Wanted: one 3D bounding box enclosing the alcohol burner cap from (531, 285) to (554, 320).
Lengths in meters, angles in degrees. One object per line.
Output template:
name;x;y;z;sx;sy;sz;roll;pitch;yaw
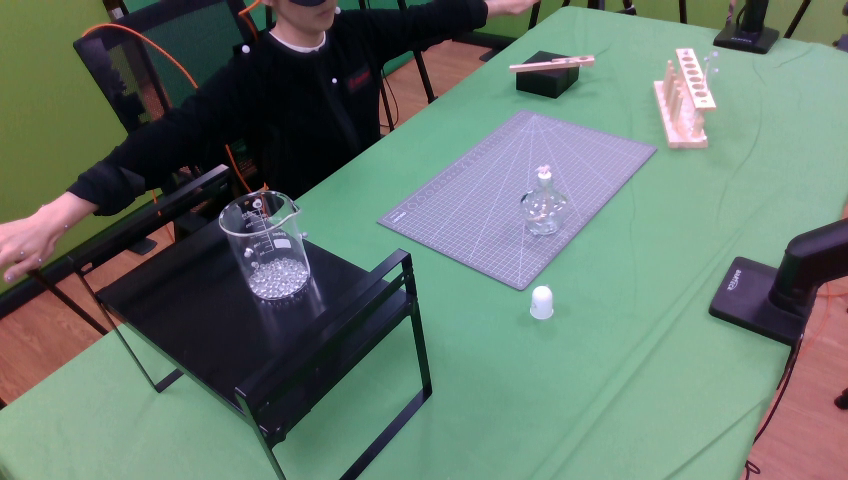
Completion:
alcohol burner cap;0.164;0.084;0.838;0.034;0.048;0.033;-4;40;4

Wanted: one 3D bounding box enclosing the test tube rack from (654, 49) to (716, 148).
test tube rack;0.502;-0.281;1.176;0.066;0.085;0.241;2;41;11

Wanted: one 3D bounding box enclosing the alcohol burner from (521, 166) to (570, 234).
alcohol burner;0.192;-0.068;0.951;0.078;0.119;0.077;-4;43;4

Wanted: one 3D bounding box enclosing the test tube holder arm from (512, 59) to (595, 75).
test tube holder arm;0.276;-0.371;1.294;0.179;0.015;0.013;-8;38;-2

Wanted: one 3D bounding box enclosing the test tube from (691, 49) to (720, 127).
test tube;0.505;-0.270;1.087;0.017;0.151;0.017;-2;41;2

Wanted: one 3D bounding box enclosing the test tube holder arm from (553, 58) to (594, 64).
test tube holder arm;0.321;-0.380;1.299;0.088;0.015;0.010;-5;38;1

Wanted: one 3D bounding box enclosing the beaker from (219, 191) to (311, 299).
beaker;-0.164;0.008;0.654;0.084;0.101;0.073;-10;41;-3
